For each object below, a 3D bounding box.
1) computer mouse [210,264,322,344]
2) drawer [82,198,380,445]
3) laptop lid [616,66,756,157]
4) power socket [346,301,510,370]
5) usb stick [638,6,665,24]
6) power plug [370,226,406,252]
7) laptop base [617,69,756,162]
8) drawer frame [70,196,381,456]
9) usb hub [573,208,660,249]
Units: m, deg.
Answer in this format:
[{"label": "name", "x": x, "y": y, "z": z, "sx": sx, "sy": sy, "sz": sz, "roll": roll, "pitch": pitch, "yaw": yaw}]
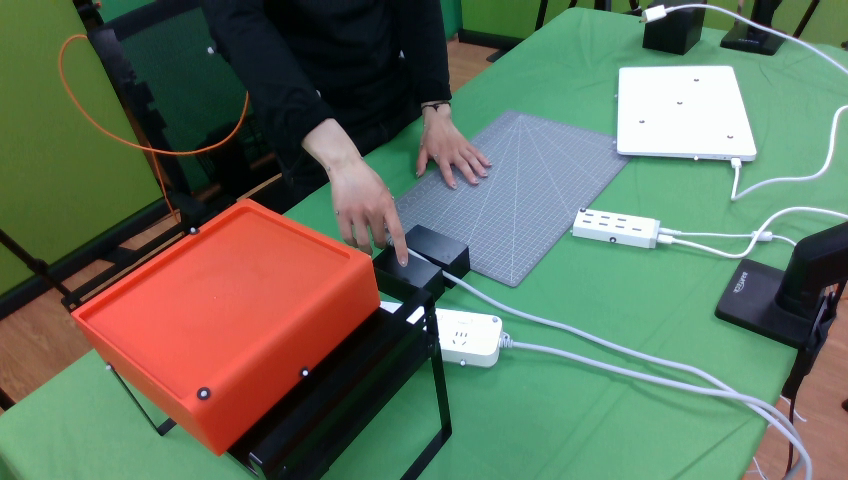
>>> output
[{"label": "computer mouse", "x": -0.164, "y": 0.062, "z": 0.624, "sx": 0.116, "sy": 0.041, "sz": 0.063, "roll": 22, "pitch": 44, "yaw": 27}, {"label": "drawer", "x": -0.185, "y": 0.066, "z": 0.600, "sx": 0.193, "sy": 0.073, "sz": 0.212, "roll": 24, "pitch": 50, "yaw": 31}, {"label": "laptop lid", "x": 0.503, "y": -0.265, "z": 1.196, "sx": 0.241, "sy": 0.013, "sz": 0.356, "roll": 5, "pitch": 41, "yaw": 16}, {"label": "power socket", "x": -0.001, "y": 0.126, "z": 0.817, "sx": 0.226, "sy": 0.033, "sz": 0.072, "roll": 7, "pitch": 43, "yaw": 15}, {"label": "usb stick", "x": 0.503, "y": -0.499, "z": 1.347, "sx": 0.059, "sy": 0.027, "sz": 0.021, "roll": -21, "pitch": 5, "yaw": -2}, {"label": "power plug", "x": -0.055, "y": 0.009, "z": 0.928, "sx": 0.035, "sy": 0.053, "sz": 0.072, "roll": -32, "pitch": 61, "yaw": -5}, {"label": "laptop base", "x": 0.507, "y": -0.255, "z": 1.204, "sx": 0.235, "sy": 0.023, "sz": 0.353, "roll": 3, "pitch": 41, "yaw": 15}, {"label": "drawer frame", "x": -0.186, "y": 0.068, "z": 0.597, "sx": 0.200, "sy": 0.083, "sz": 0.214, "roll": 23, "pitch": 49, "yaw": 30}, {"label": "usb hub", "x": 0.302, "y": -0.019, "z": 0.949, "sx": 0.124, "sy": 0.025, "sz": 0.049, "roll": 11, "pitch": 43, "yaw": 20}]
